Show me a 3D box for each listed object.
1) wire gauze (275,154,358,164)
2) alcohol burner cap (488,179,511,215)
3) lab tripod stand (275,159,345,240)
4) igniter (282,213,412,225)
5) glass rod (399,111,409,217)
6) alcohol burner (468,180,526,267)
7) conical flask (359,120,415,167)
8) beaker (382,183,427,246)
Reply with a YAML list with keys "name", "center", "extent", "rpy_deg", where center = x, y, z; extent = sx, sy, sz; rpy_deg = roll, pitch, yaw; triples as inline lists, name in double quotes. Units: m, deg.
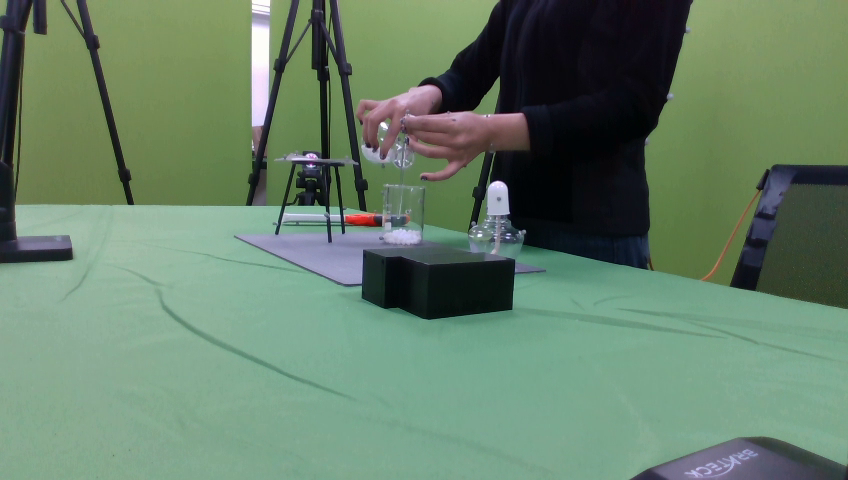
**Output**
- name: "wire gauze"
  center: [-0.179, -0.137, 1.028]
  extent: [0.121, 0.011, 0.125]
  rpy_deg: [4, 8, 0]
- name: "alcohol burner cap"
  center: [0.101, -0.058, 0.816]
  extent: [0.034, 0.048, 0.034]
  rpy_deg: [-4, 9, 1]
- name: "lab tripod stand"
  center: [-0.181, -0.072, 1.039]
  extent: [0.148, 0.131, 0.148]
  rpy_deg: [4, 8, 0]
- name: "igniter"
  center: [-0.159, -0.046, 1.286]
  extent: [0.278, 0.025, 0.057]
  rpy_deg: [0, -3, -22]
- name: "glass rod"
  center: [-0.032, -0.117, 0.975]
  extent: [0.008, 0.200, 0.008]
  rpy_deg: [3, 40, -3]
- name: "alcohol burner"
  center: [0.101, -0.022, 0.821]
  extent: [0.078, 0.119, 0.078]
  rpy_deg: [4, 8, 0]
- name: "conical flask"
  center: [-0.057, -0.157, 1.031]
  extent: [0.076, 0.075, 0.121]
  rpy_deg: [-2, 22, -27]
- name: "beaker"
  center: [-0.033, -0.044, 1.008]
  extent: [0.074, 0.100, 0.084]
  rpy_deg: [6, 7, 22]
